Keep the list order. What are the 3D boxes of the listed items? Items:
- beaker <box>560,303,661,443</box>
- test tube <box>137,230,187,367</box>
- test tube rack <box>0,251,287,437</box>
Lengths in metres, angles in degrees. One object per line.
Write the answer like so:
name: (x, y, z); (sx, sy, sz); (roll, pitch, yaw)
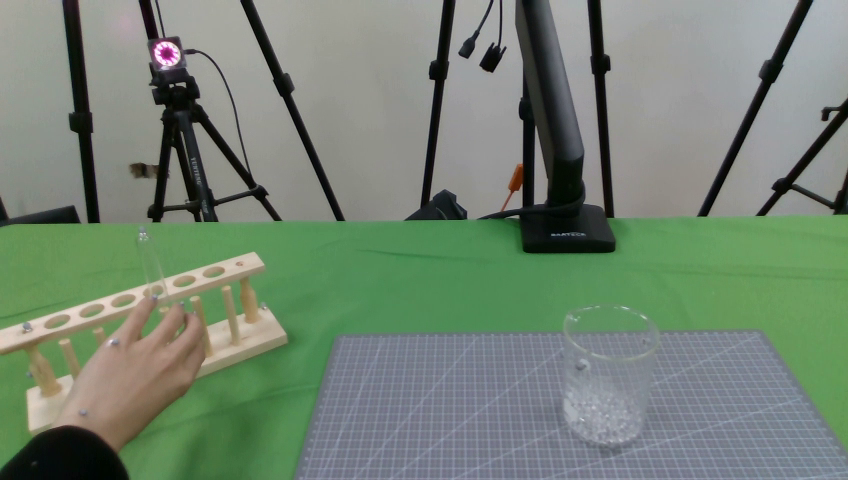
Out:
beaker: (0.151, 0.113, 0.512); (0.074, 0.101, 0.083); (-22, 34, -29)
test tube: (-0.248, 0.059, 0.575); (0.017, 0.151, 0.017); (-1, 29, 1)
test tube rack: (-0.269, 0.095, 0.605); (0.243, 0.086, 0.066); (-19, 33, -26)
